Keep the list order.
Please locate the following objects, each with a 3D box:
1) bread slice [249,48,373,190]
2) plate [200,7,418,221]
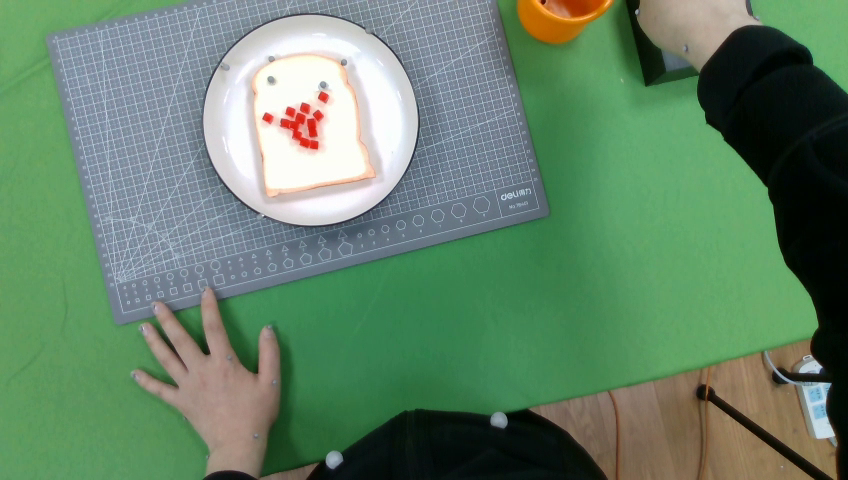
[{"bbox_3d":[-0.118,-0.121,0.598,0.107,0.018,0.134,-14,89,-5],"label":"bread slice"},{"bbox_3d":[-0.110,-0.121,0.598,0.209,0.038,0.209,0,89,-3],"label":"plate"}]
